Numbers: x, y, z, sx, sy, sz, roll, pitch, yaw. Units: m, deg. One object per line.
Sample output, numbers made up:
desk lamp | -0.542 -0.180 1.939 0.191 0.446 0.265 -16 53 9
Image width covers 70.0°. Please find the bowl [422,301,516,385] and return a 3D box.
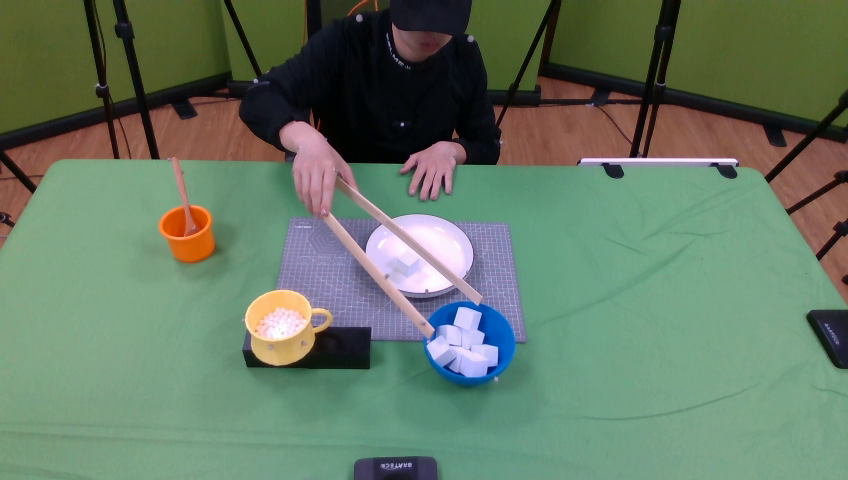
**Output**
bowl | 0.069 0.181 0.990 0.151 0.077 0.150 2 46 -2

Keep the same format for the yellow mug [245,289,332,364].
yellow mug | -0.210 0.133 0.954 0.131 0.064 0.099 -9 47 -14

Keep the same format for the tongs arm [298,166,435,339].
tongs arm | -0.099 0.010 0.992 0.051 0.026 0.383 -28 62 -37

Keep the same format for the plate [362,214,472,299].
plate | -0.014 0.034 1.150 0.208 0.039 0.206 2 46 -2

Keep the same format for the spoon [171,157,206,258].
spoon | -0.444 -0.061 1.133 0.042 0.193 0.021 -12 4 -20

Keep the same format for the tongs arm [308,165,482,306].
tongs arm | -0.054 -0.014 1.033 0.386 0.028 0.028 38 51 16
